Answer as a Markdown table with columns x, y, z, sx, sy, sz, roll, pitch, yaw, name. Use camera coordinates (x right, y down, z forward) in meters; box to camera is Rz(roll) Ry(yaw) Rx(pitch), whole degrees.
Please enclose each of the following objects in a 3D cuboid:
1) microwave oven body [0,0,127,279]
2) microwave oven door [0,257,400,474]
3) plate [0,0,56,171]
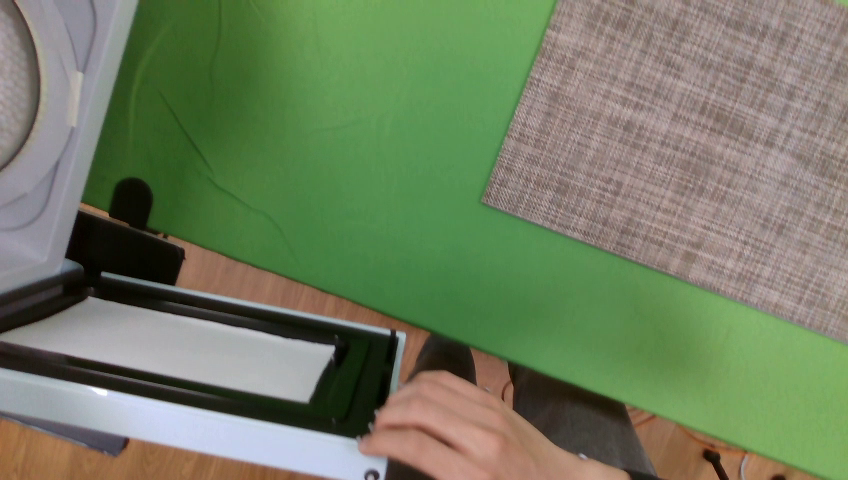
| x | y | z | sx | sy | sz | roll | pitch | yaw | name |
| --- | --- | --- | --- | --- | --- | --- | --- | --- | --- |
| -0.424 | -0.192 | 0.466 | 0.326 | 0.259 | 0.442 | 21 | 100 | -4 | microwave oven body |
| -0.203 | 0.090 | 0.512 | 0.356 | 0.243 | 0.039 | 12 | 99 | -3 | microwave oven door |
| -0.423 | -0.154 | 0.528 | 0.209 | 0.038 | 0.209 | 0 | 101 | -2 | plate |
